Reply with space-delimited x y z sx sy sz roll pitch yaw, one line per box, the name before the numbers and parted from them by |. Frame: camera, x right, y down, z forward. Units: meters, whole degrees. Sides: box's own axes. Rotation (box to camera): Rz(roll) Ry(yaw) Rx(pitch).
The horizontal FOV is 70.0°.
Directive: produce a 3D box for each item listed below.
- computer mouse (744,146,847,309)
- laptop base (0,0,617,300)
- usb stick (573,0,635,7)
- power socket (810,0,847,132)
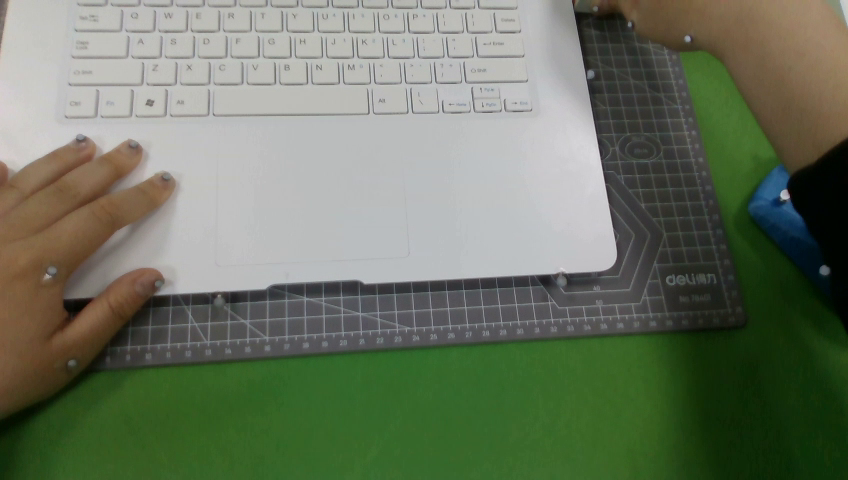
computer mouse | 0.260 -0.008 0.374 0.063 0.041 0.116 -38 75 -14
laptop base | -0.070 -0.087 0.371 0.355 0.023 0.234 -3 75 -8
usb stick | 0.116 -0.175 0.411 0.059 0.027 0.021 0 75 -2
power socket | 0.326 -0.113 0.419 0.072 0.033 0.225 1 71 -6
